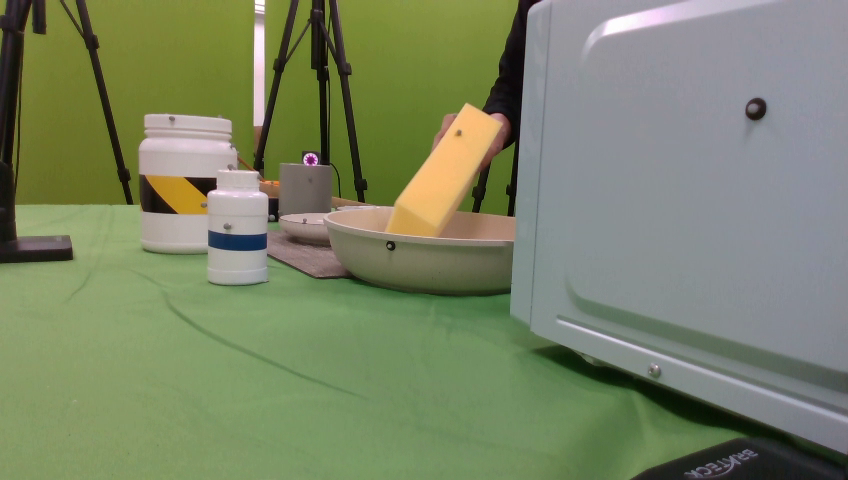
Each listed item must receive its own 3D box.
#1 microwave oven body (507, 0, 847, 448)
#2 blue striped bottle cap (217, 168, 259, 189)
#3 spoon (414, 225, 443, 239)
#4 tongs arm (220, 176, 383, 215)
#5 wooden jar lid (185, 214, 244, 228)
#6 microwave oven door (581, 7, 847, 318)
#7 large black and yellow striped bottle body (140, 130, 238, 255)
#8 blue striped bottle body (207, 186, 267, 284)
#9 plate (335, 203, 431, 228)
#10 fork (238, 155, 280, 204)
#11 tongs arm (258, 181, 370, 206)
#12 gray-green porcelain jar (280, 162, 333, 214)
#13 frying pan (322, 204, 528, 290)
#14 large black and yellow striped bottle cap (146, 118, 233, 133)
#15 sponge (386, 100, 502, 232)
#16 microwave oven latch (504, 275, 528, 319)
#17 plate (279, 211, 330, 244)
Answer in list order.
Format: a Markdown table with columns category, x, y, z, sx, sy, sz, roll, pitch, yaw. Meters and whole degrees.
| category | x | y | z | sx | sy | sz | roll | pitch | yaw |
| --- | --- | --- | --- | --- | --- | --- | --- | --- | --- |
| microwave oven body | 0.331 | -0.042 | 0.425 | 0.444 | 0.260 | 0.324 | -2 | 8 | -31 |
| blue striped bottle cap | -0.202 | -0.067 | 0.657 | 0.044 | 0.020 | 0.044 | 0 | 10 | 0 |
| spoon | 0.017 | -0.019 | 1.113 | 0.041 | 0.021 | 0.194 | -14 | 3 | 11 |
| tongs arm | -0.285 | -0.103 | 1.445 | 0.389 | 0.027 | 0.028 | 9 | -4 | -23 |
| wooden jar lid | -0.404 | -0.037 | 1.169 | 0.108 | 0.020 | 0.108 | 3 | 7 | 0 |
| microwave oven door | 0.295 | -0.067 | 0.569 | 0.358 | 0.243 | 0.039 | -3 | 8 | -31 |
| large black and yellow striped bottle body | -0.336 | -0.078 | 0.871 | 0.131 | 0.184 | 0.130 | 2 | 8 | 0 |
| blue striped bottle body | -0.204 | -0.016 | 0.663 | 0.063 | 0.120 | 0.063 | 2 | 7 | 0 |
| plate | -0.089 | -0.053 | 1.309 | 0.208 | 0.039 | 0.207 | 2 | 8 | 0 |
| fork | -0.396 | -0.143 | 1.486 | 0.028 | 0.018 | 0.208 | 20 | -26 | 45 |
| tongs arm | -0.241 | -0.095 | 1.373 | 0.387 | 0.026 | 0.050 | 9 | -1 | -37 |
| gray-green porcelain jar | -0.238 | -0.092 | 1.221 | 0.106 | 0.126 | 0.106 | 2 | 7 | 0 |
| frying pan | 0.109 | -0.018 | 0.800 | 0.490 | 0.102 | 0.305 | -12 | 16 | -30 |
| large black and yellow striped bottle cap | -0.333 | -0.163 | 0.861 | 0.115 | 0.019 | 0.115 | 1 | 9 | 0 |
| sponge | 0.025 | -0.079 | 0.824 | 0.061 | 0.207 | 0.118 | 30 | -32 | 4 |
| microwave oven latch | 0.100 | 0.042 | 0.471 | 0.079 | 0.029 | 0.030 | -1 | 7 | -29 |
| plate | -0.139 | -0.022 | 1.021 | 0.209 | 0.038 | 0.209 | 2 | 8 | 0 |
